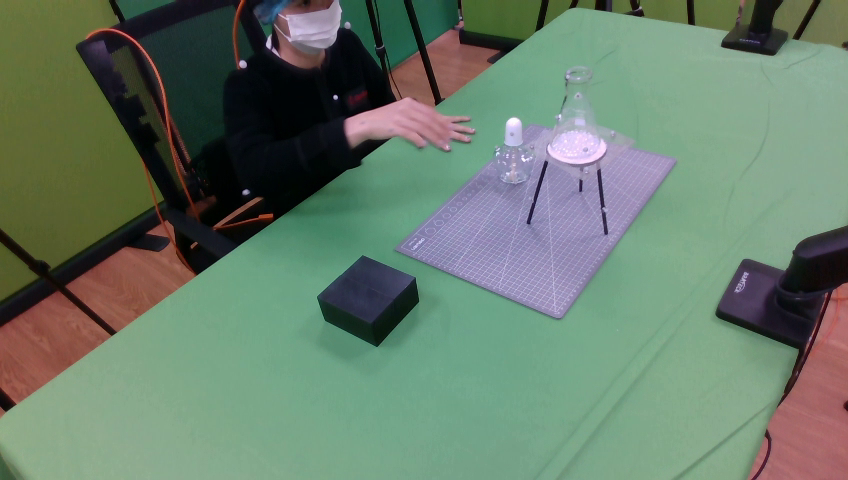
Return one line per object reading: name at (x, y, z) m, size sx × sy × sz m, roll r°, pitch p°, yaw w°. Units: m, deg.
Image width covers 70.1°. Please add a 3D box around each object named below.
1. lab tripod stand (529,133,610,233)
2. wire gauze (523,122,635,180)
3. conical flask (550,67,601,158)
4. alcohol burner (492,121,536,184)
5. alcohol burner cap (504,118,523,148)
lab tripod stand at (0.236, -0.089, 0.953) m, size 0.148 × 0.132 × 0.147 m, roll -5°, pitch 42°, yaw 5°
wire gauze at (0.233, -0.142, 0.913) m, size 0.122 × 0.011 × 0.124 m, roll -31°, pitch 43°, yaw -26°
conical flask at (0.221, -0.186, 0.875) m, size 0.075 × 0.122 × 0.075 m, roll -5°, pitch 40°, yaw 5°
alcohol burner at (0.159, -0.158, 1.064) m, size 0.078 × 0.119 × 0.077 m, roll -3°, pitch 41°, yaw 3°
alcohol burner cap at (0.154, -0.186, 1.042) m, size 0.034 × 0.048 × 0.033 m, roll -4°, pitch 33°, yaw 3°
